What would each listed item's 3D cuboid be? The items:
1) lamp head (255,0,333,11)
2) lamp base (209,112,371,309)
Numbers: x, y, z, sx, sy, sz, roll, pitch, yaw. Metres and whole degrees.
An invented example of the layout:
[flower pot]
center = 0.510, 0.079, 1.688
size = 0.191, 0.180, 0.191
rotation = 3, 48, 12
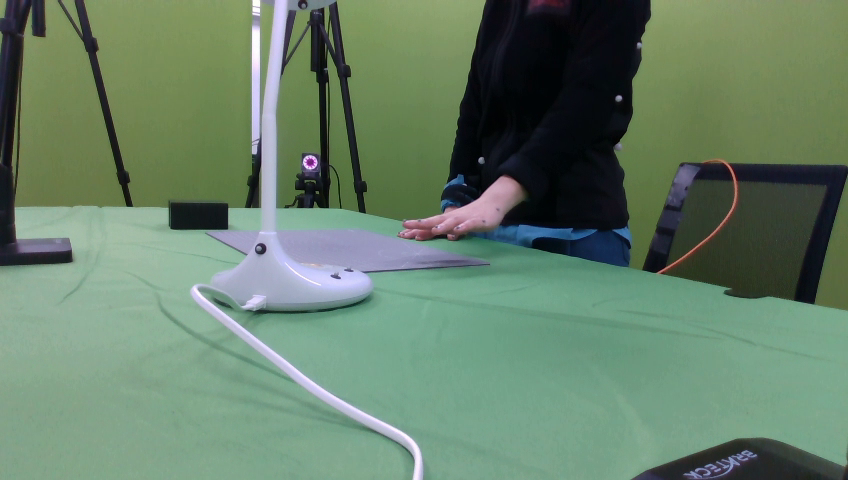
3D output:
[lamp head]
center = -0.141, -0.318, 0.630
size = 0.113, 0.112, 0.123
rotation = 1, -32, -10
[lamp base]
center = -0.133, -0.032, 0.594
size = 0.160, 0.180, 0.179
rotation = 2, 10, 3
